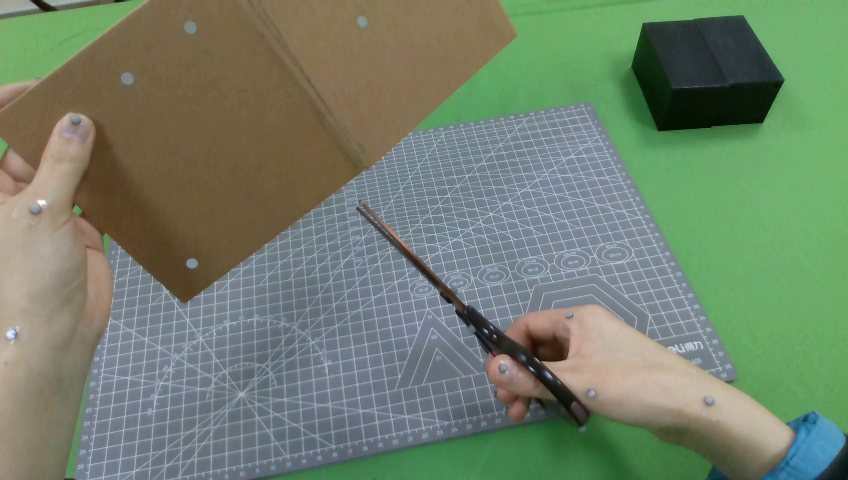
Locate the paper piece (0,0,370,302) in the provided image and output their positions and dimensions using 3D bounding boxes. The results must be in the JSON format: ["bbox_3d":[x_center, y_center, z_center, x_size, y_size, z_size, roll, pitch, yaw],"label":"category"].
[{"bbox_3d":[-0.123,-0.052,0.323,0.138,0.137,0.008,-37,26,-1],"label":"paper piece"}]

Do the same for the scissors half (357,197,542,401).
[{"bbox_3d":[0.020,0.037,0.362,0.013,0.176,0.039,-45,21,-5],"label":"scissors half"}]

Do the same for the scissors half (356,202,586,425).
[{"bbox_3d":[0.023,0.037,0.339,0.174,0.040,0.013,43,80,13],"label":"scissors half"}]

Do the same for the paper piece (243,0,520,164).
[{"bbox_3d":[-0.021,-0.136,0.338,0.135,0.136,0.004,-43,28,-12],"label":"paper piece"}]
